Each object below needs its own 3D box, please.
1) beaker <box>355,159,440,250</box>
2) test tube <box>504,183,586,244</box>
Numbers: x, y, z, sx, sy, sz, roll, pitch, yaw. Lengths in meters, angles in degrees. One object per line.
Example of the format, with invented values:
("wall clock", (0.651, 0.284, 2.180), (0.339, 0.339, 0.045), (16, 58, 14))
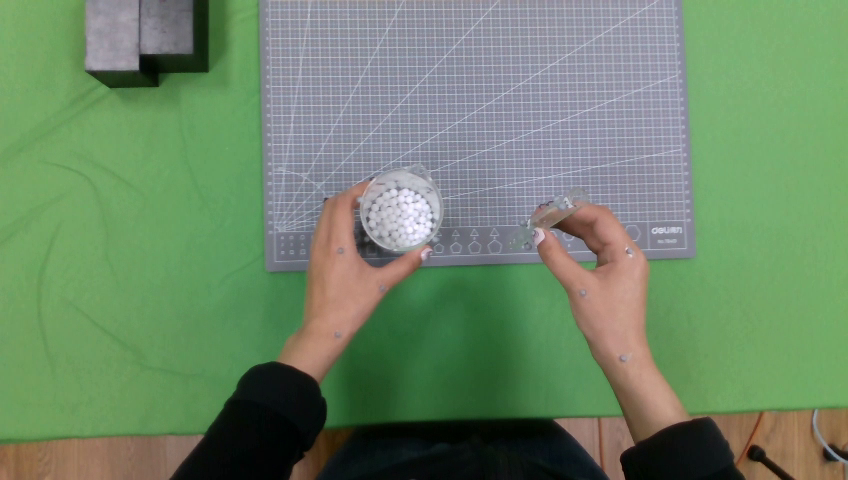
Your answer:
("beaker", (-0.024, -0.030, 0.578), (0.074, 0.100, 0.084), (21, 85, -2))
("test tube", (0.095, -0.018, 0.502), (0.017, 0.150, 0.017), (2, 77, -11))
